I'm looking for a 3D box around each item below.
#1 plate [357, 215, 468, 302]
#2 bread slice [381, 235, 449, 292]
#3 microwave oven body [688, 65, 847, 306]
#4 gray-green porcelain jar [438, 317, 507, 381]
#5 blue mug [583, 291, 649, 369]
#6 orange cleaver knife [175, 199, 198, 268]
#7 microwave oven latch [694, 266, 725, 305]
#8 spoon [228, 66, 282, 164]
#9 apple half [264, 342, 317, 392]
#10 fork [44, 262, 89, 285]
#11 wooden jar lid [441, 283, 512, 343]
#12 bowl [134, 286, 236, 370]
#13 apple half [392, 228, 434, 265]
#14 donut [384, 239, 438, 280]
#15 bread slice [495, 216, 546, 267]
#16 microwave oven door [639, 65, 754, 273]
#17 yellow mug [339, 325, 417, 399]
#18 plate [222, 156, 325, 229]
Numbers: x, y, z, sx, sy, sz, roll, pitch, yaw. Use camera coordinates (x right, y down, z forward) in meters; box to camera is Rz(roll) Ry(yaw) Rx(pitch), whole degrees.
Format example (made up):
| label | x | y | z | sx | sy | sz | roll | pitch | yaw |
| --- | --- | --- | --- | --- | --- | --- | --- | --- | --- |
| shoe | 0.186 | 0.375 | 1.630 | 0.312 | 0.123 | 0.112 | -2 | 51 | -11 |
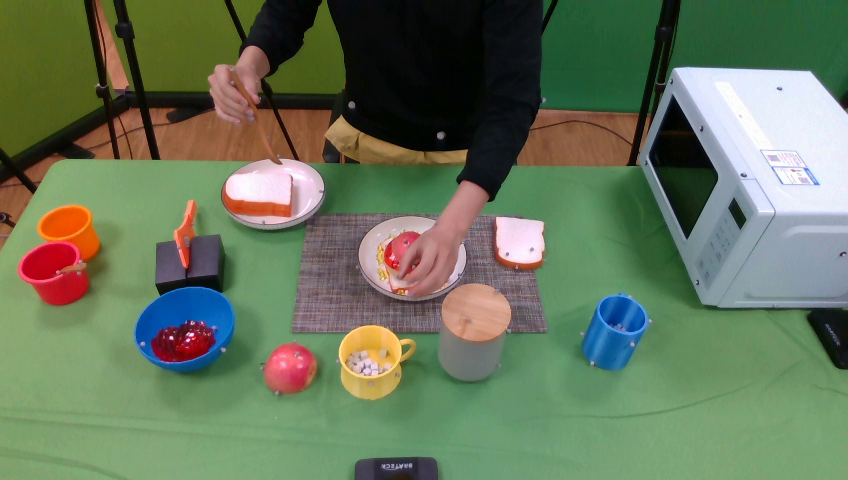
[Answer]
| label | x | y | z | sx | sy | sz | roll | pitch | yaw |
| --- | --- | --- | --- | --- | --- | --- | --- | --- | --- |
| plate | -0.022 | 0.037 | 1.141 | 0.208 | 0.039 | 0.206 | 2 | 46 | -2 |
| bread slice | -0.026 | 0.039 | 1.140 | 0.107 | 0.018 | 0.133 | -12 | 49 | -16 |
| microwave oven body | 0.669 | -0.111 | 1.176 | 0.326 | 0.261 | 0.439 | 0 | 46 | -3 |
| gray-green porcelain jar | 0.076 | 0.158 | 0.977 | 0.106 | 0.127 | 0.105 | 2 | 47 | -2 |
| blue mug | 0.324 | 0.142 | 1.023 | 0.082 | 0.106 | 0.116 | 15 | 47 | 11 |
| orange cleaver knife | -0.438 | -0.017 | 1.138 | 0.012 | 0.077 | 0.210 | -14 | 27 | -6 |
| microwave oven latch | 0.523 | 0.082 | 1.115 | 0.030 | 0.029 | 0.078 | 3 | 46 | 0 |
| spoon | -0.275 | -0.200 | 0.993 | 0.021 | 0.195 | 0.041 | -30 | 45 | -16 |
| apple half | -0.214 | 0.198 | 0.970 | 0.074 | 0.053 | 0.080 | 19 | 48 | 10 |
| fork | -0.598 | 0.054 | 1.014 | 0.207 | 0.019 | 0.028 | -15 | 28 | 45 |
| wooden jar lid | 0.080 | 0.114 | 0.931 | 0.108 | 0.021 | 0.107 | 1 | 49 | -1 |
| bowl | -0.377 | 0.155 | 0.981 | 0.151 | 0.077 | 0.150 | 2 | 46 | -2 |
| apple half | -0.020 | 0.004 | 1.083 | 0.081 | 0.033 | 0.081 | 6 | 50 | -7 |
| donut | -0.025 | 0.030 | 1.109 | 0.099 | 0.048 | 0.098 | 2 | 46 | -2 |
| bread slice | 0.194 | 0.002 | 1.204 | 0.105 | 0.019 | 0.131 | 5 | 46 | 2 |
| microwave oven door | 0.522 | -0.147 | 1.193 | 0.039 | 0.245 | 0.353 | 0 | 47 | -3 |
| yellow mug | -0.072 | 0.190 | 0.978 | 0.131 | 0.064 | 0.099 | -17 | 50 | -20 |
| plate | -0.308 | -0.095 | 1.251 | 0.209 | 0.038 | 0.208 | 3 | 46 | -3 |
